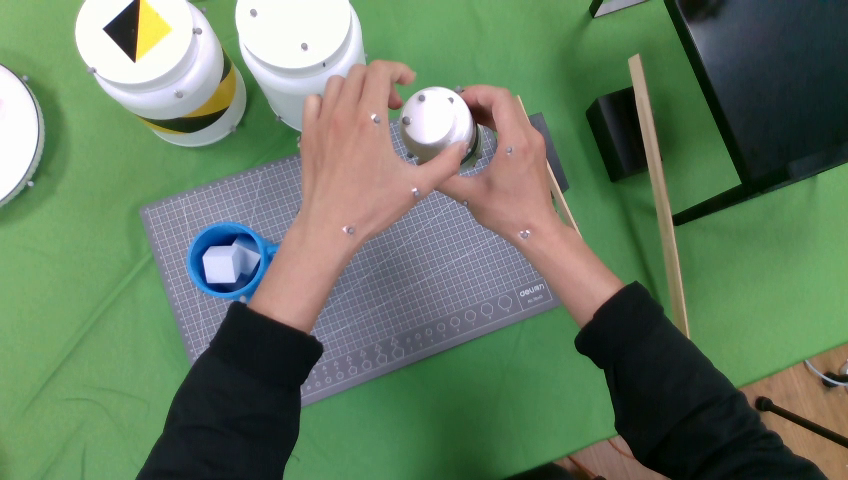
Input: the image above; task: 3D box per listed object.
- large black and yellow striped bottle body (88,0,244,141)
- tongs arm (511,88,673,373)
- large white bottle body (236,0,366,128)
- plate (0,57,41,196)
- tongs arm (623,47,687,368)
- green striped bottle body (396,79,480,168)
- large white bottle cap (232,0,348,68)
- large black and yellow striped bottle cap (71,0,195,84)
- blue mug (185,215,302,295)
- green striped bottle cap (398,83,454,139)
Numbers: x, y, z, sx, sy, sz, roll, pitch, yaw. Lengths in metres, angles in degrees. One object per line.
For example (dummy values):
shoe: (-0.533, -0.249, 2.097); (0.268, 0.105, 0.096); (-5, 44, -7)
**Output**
large black and yellow striped bottle body: (-0.291, -0.199, 0.684); (0.131, 0.184, 0.130); (0, 82, -2)
tongs arm: (0.201, -0.009, 0.722); (0.051, 0.026, 0.385); (-25, 96, -8)
large white bottle body: (-0.137, -0.218, 0.693); (0.131, 0.185, 0.130); (0, 82, -3)
plate: (-0.568, -0.133, 0.736); (0.208, 0.039, 0.207); (0, 83, -2)
tongs arm: (0.278, -0.037, 0.732); (0.028, 0.027, 0.388); (-12, 95, -13)
green striped bottle body: (0.013, -0.103, 0.544); (0.063, 0.119, 0.063); (0, 89, 11)
large white bottle cap: (-0.134, -0.230, 0.610); (0.115, 0.018, 0.114); (0, 82, -3)
large black and yellow striped bottle cap: (-0.288, -0.213, 0.601); (0.115, 0.019, 0.114); (1, 83, -4)
blue mug: (-0.199, 0.017, 0.698); (0.116, 0.106, 0.082); (-13, 83, -4)
green striped bottle cap: (0.002, -0.105, 0.493); (0.044, 0.020, 0.044); (1, 95, 11)
